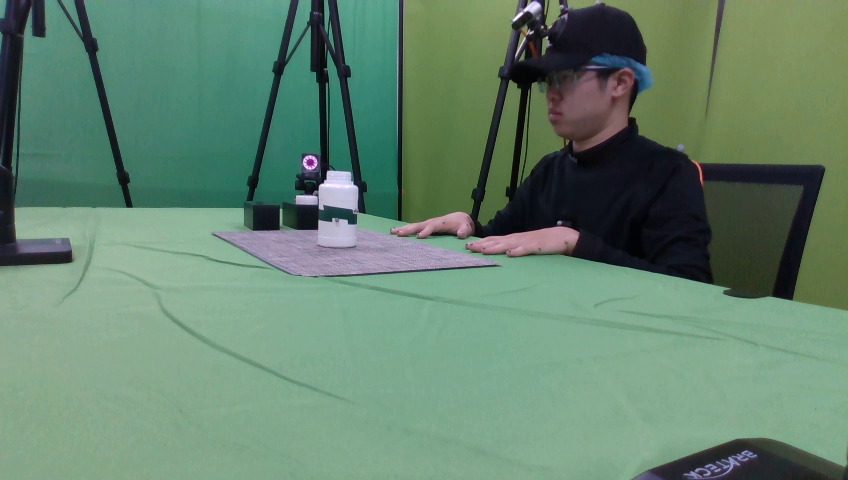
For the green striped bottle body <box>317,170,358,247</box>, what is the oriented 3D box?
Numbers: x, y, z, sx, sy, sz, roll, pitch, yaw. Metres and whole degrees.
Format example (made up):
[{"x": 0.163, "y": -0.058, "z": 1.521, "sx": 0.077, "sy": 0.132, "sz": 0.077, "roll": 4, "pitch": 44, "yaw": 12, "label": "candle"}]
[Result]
[{"x": -0.138, "y": -0.051, "z": 0.964, "sx": 0.063, "sy": 0.119, "sz": 0.063, "roll": 2, "pitch": 7, "yaw": 0, "label": "green striped bottle body"}]

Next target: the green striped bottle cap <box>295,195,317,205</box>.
[{"x": -0.240, "y": -0.082, "z": 1.228, "sx": 0.044, "sy": 0.020, "sz": 0.044, "roll": 1, "pitch": 5, "yaw": 0, "label": "green striped bottle cap"}]
